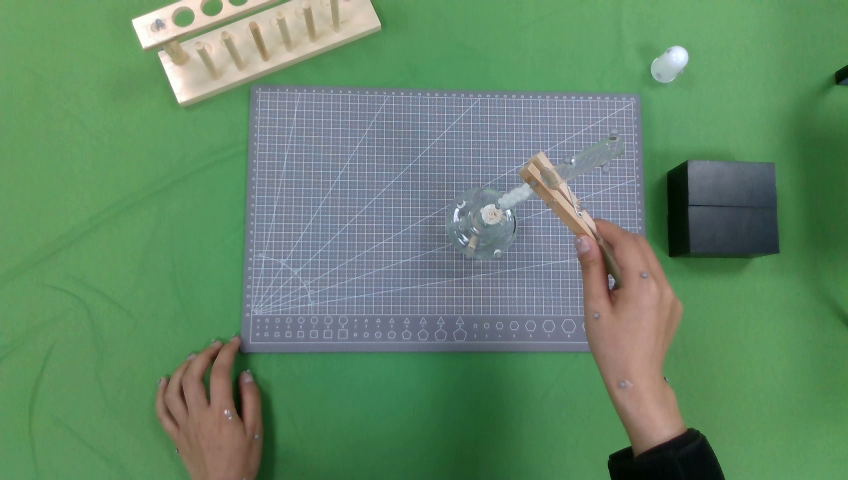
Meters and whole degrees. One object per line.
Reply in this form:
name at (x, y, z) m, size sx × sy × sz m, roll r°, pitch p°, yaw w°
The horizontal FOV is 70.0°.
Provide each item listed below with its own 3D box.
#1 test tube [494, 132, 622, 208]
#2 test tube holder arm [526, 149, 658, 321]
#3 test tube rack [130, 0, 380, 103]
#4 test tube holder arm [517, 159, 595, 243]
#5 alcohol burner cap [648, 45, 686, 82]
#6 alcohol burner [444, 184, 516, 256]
test tube at (0.099, -0.051, 0.480) m, size 0.017 × 0.150 × 0.017 m, roll 6°, pitch 75°, yaw -25°
test tube holder arm at (0.142, -0.001, 0.503) m, size 0.013 × 0.015 × 0.179 m, roll -45°, pitch 103°, yaw -24°
test tube rack at (-0.172, -0.236, 0.654) m, size 0.242 × 0.085 × 0.066 m, roll -24°, pitch 84°, yaw -6°
test tube holder arm at (0.109, -0.030, 0.491) m, size 0.088 × 0.015 × 0.010 m, roll 44°, pitch 67°, yaw -15°
alcohol burner cap at (0.285, -0.207, 0.704) m, size 0.034 × 0.048 × 0.033 m, roll 0°, pitch 82°, yaw -2°
alcohol burner at (0.060, -0.023, 0.627) m, size 0.078 × 0.119 × 0.077 m, roll 1°, pitch 84°, yaw -5°
